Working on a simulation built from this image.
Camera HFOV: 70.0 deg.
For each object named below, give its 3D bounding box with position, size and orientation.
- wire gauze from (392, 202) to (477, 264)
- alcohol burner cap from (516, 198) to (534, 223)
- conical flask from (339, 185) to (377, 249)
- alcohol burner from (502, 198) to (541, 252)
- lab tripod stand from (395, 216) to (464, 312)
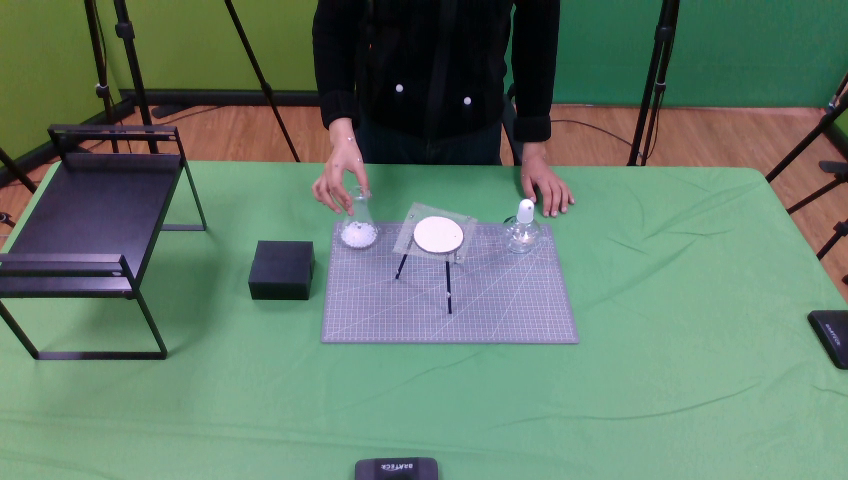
[{"bbox_3d":[0.021,-0.011,1.037,0.121,0.011,0.124,14,47,8],"label":"wire gauze"},{"bbox_3d":[0.194,-0.059,1.152,0.034,0.048,0.033,0,50,1],"label":"alcohol burner cap"},{"bbox_3d":[-0.127,-0.048,1.160,0.075,0.122,0.075,3,45,-3],"label":"conical flask"},{"bbox_3d":[0.192,-0.033,1.178,0.078,0.119,0.077,3,45,-2],"label":"alcohol burner"},{"bbox_3d":[0.023,0.036,1.084,0.148,0.132,0.147,4,46,-4],"label":"lab tripod stand"}]
